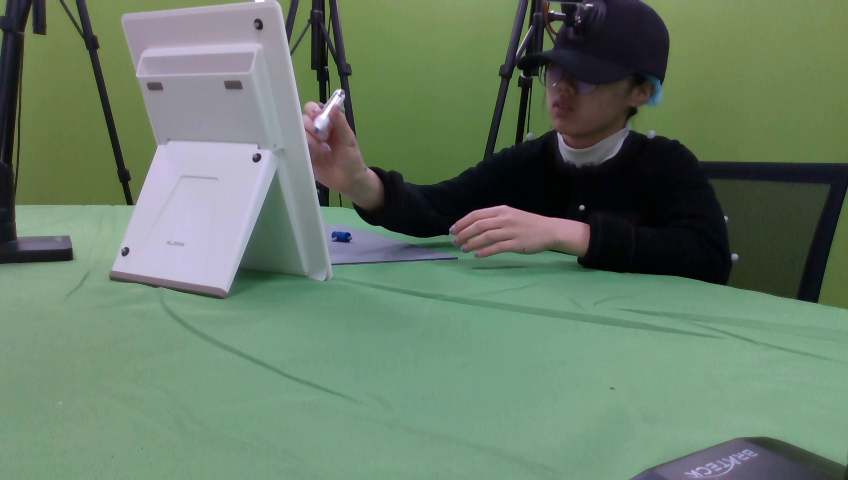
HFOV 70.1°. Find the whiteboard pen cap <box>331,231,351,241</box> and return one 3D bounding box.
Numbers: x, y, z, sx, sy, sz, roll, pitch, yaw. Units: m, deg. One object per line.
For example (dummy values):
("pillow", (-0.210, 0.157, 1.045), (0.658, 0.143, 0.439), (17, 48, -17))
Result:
("whiteboard pen cap", (-0.139, -0.007, 1.011), (0.033, 0.018, 0.018), (2, 6, 36))

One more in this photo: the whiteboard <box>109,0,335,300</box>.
("whiteboard", (-0.247, -0.072, 0.624), (0.216, 0.305, 0.144), (6, 28, 26))

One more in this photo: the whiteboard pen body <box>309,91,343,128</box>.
("whiteboard pen body", (-0.122, -0.161, 0.748), (0.017, 0.017, 0.140), (3, 28, 5))
